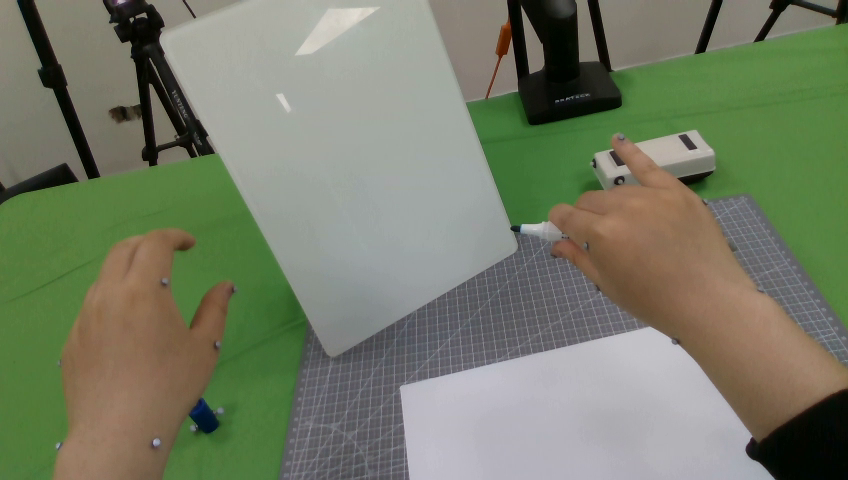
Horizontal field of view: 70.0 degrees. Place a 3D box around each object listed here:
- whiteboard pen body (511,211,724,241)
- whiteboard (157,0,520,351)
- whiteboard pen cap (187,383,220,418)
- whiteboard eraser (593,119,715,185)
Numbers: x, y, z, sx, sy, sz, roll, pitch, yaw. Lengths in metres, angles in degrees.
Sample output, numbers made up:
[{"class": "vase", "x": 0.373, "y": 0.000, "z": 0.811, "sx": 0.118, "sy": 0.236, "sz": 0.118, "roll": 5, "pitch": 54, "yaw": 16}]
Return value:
[{"class": "whiteboard pen body", "x": 0.130, "y": -0.011, "z": 0.418, "sx": 0.140, "sy": 0.017, "sz": 0.017, "roll": 4, "pitch": 44, "yaw": 16}, {"class": "whiteboard", "x": -0.075, "y": -0.094, "z": 0.586, "sx": 0.217, "sy": 0.307, "sz": 0.142, "roll": -29, "pitch": 22, "yaw": -14}, {"class": "whiteboard pen cap", "x": -0.190, "y": 0.139, "z": 0.522, "sx": 0.018, "sy": 0.033, "sz": 0.018, "roll": -7, "pitch": 42, "yaw": 7}, {"class": "whiteboard eraser", "x": 0.240, "y": -0.090, "z": 0.638, "sx": 0.112, "sy": 0.042, "sz": 0.055, "roll": -12, "pitch": 43, "yaw": 4}]
